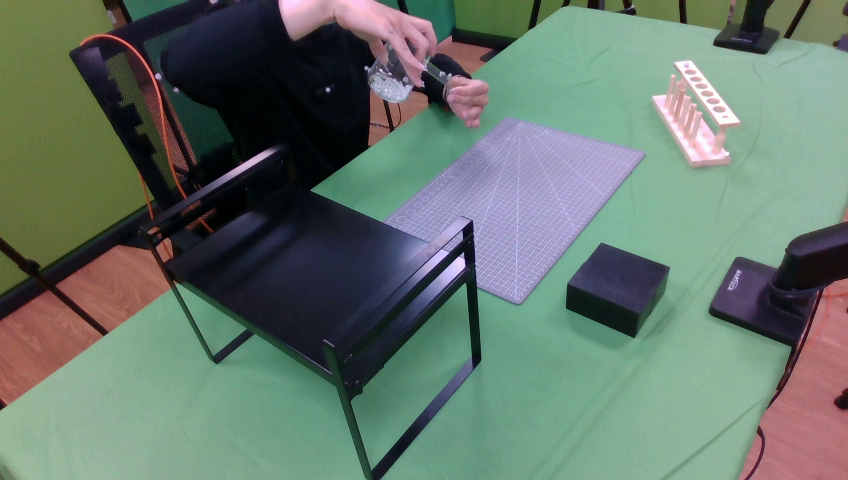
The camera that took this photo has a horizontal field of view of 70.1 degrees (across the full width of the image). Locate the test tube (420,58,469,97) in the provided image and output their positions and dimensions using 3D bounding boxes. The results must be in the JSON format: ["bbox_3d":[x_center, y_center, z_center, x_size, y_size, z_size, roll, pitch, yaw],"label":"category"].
[{"bbox_3d":[0.039,-0.278,1.042,0.017,0.017,0.152,27,6,33],"label":"test tube"}]

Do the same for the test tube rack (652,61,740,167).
[{"bbox_3d":[0.499,-0.242,1.130,0.067,0.085,0.241,-5,41,3],"label":"test tube rack"}]

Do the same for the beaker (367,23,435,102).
[{"bbox_3d":[-0.036,-0.270,0.935,0.073,0.084,0.100,13,64,33],"label":"beaker"}]
